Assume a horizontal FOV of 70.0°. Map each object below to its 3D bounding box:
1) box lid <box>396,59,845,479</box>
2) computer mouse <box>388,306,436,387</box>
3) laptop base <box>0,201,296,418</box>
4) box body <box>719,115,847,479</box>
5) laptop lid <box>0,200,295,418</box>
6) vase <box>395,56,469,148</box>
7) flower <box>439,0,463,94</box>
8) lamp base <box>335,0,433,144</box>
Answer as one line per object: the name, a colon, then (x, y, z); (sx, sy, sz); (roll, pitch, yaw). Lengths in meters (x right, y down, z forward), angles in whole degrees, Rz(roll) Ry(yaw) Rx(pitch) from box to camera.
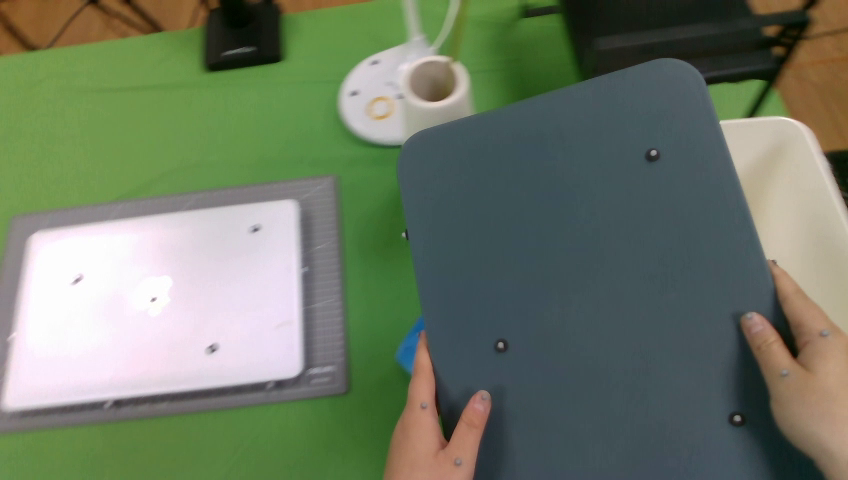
box lid: (0.128, 0.048, 0.469); (0.263, 0.015, 0.369); (-14, 74, 10)
computer mouse: (0.013, 0.107, 0.692); (0.062, 0.041, 0.117); (32, 67, 20)
laptop base: (-0.332, 0.079, 0.744); (0.354, 0.023, 0.233); (-8, 68, 1)
box body: (0.274, 0.076, 0.616); (0.254, 0.162, 0.361); (-6, 64, 2)
laptop lid: (-0.332, 0.076, 0.733); (0.357, 0.013, 0.239); (-6, 66, 2)
vase: (0.013, -0.121, 0.712); (0.098, 0.202, 0.097); (-3, 62, 5)
flower: (0.021, -0.168, 0.642); (0.038, 0.364, 0.043); (-13, 53, -21)
lamp base: (-0.047, -0.246, 0.788); (0.160, 0.182, 0.178); (24, 66, 15)
